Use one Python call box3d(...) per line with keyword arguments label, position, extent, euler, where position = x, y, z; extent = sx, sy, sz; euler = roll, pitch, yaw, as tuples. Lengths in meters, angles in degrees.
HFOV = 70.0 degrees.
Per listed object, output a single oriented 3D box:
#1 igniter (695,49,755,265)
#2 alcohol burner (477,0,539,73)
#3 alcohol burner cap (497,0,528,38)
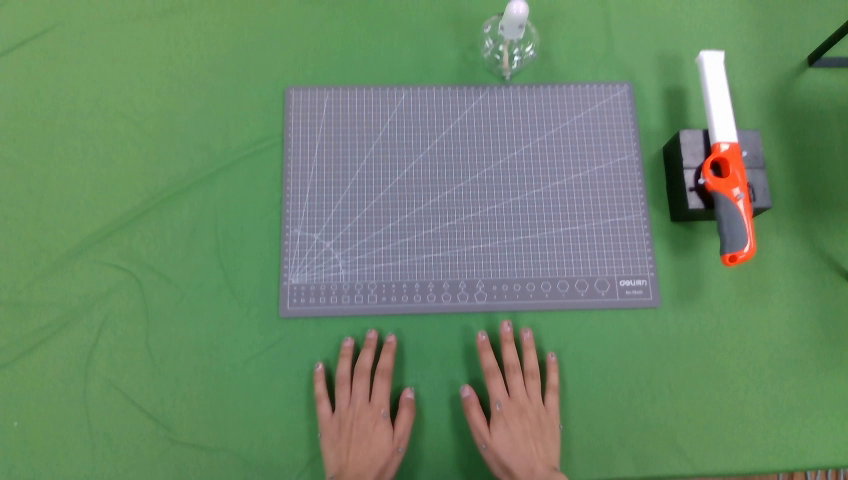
box3d(label="igniter", position=(0.351, -0.103, 0.712), extent=(0.057, 0.025, 0.275), euler=(2, 72, -1))
box3d(label="alcohol burner", position=(0.107, -0.259, 0.746), extent=(0.078, 0.119, 0.077), euler=(1, 76, -3))
box3d(label="alcohol burner cap", position=(0.106, -0.266, 0.716), extent=(0.034, 0.048, 0.033), euler=(1, 74, -4))
